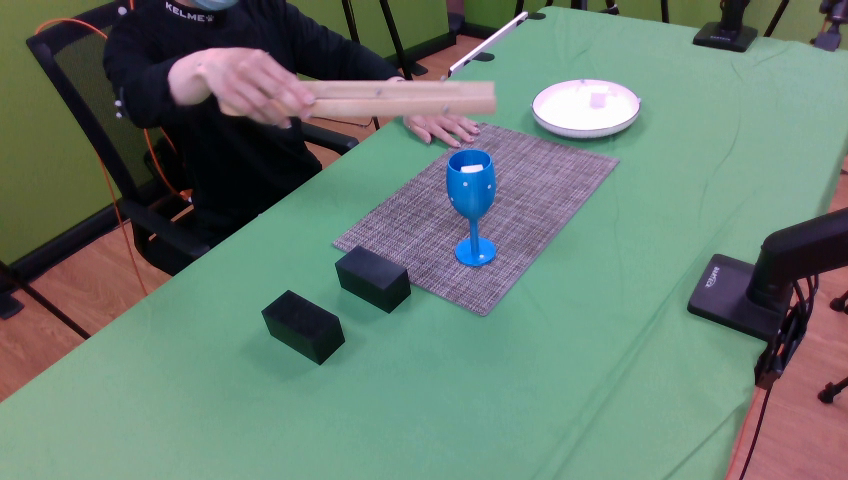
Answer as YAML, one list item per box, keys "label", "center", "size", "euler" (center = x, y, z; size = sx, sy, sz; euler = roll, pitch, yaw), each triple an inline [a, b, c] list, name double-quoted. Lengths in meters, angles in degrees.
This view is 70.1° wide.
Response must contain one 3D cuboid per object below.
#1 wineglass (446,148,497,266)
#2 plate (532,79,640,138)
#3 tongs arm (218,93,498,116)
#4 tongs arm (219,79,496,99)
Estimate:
- label: "wineglass"
  center: [0.072, -0.046, 0.889]
  size: [0.074, 0.173, 0.073]
  euler: [-4, 41, 4]
- label: "plate"
  center: [0.322, -0.259, 1.212]
  size: [0.209, 0.038, 0.208]
  euler: [-4, 40, 4]
- label: "tongs arm"
  center: [-0.093, -0.187, 0.828]
  size: [0.387, 0.028, 0.028]
  euler: [0, 42, 3]
- label: "tongs arm"
  center: [-0.092, -0.205, 0.852]
  size: [0.384, 0.026, 0.050]
  euler: [1, 39, 5]
